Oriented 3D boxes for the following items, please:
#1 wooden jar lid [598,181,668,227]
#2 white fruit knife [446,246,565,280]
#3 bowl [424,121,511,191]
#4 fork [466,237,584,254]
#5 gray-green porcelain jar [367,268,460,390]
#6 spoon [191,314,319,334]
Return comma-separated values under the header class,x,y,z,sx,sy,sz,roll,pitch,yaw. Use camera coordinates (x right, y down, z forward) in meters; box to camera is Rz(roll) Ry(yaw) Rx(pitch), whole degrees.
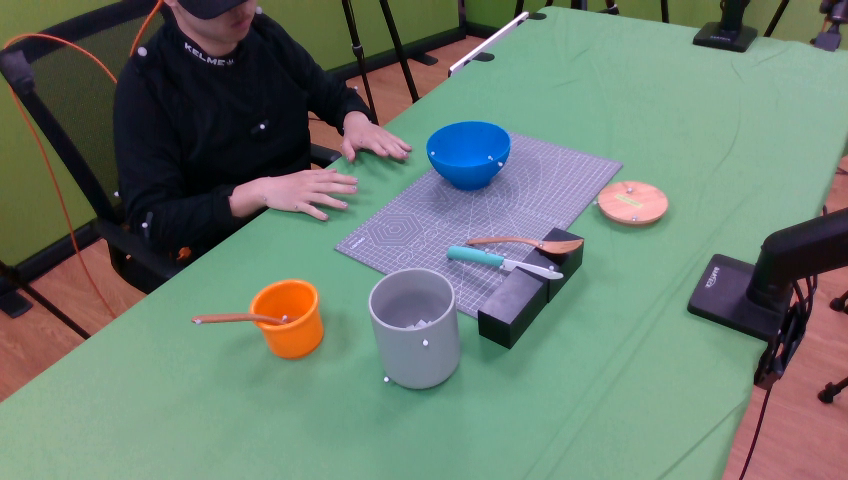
class,x,y,z,sx,sy,sz,roll,pitch,yaw
wooden jar lid,0.340,-0.058,0.988,0.108,0.021,0.108,-5,41,5
white fruit knife,0.111,0.033,0.868,0.205,0.027,0.016,11,43,40
bowl,0.080,-0.141,1.074,0.151,0.077,0.150,-4,40,4
fork,0.142,0.005,0.894,0.205,0.019,0.028,4,43,41
gray-green porcelain jar,-0.009,0.116,0.754,0.106,0.127,0.105,-4,41,4
spoon,-0.212,0.105,0.780,0.041,0.195,0.021,30,97,37
